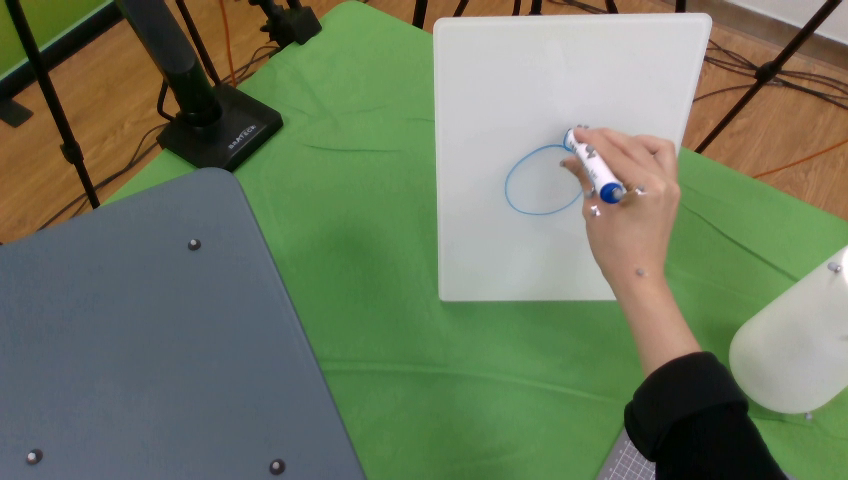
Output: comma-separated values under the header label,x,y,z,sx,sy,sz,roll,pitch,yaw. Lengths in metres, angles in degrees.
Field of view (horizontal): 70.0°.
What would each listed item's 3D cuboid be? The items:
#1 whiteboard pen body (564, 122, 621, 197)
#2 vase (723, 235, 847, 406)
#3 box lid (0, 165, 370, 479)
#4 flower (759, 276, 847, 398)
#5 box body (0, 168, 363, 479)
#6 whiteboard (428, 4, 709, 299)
label,x,y,z,sx,sy,sz,roll,pitch,yaw
whiteboard pen body,0.124,-0.067,0.462,0.017,0.017,0.139,-2,29,1
vase,0.340,0.072,0.526,0.098,0.202,0.097,-1,57,2
box lid,-0.217,0.110,0.452,0.263,0.015,0.367,-24,61,-13
flower,0.339,0.015,0.463,0.044,0.365,0.038,24,45,20
box body,-0.214,0.151,0.515,0.254,0.162,0.360,-25,61,-12
whiteboard,0.118,-0.100,0.610,0.217,0.308,0.142,0,39,2
